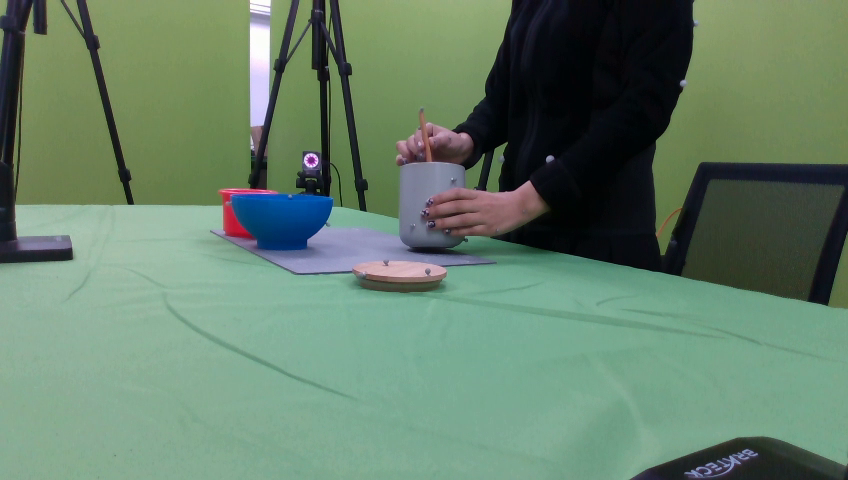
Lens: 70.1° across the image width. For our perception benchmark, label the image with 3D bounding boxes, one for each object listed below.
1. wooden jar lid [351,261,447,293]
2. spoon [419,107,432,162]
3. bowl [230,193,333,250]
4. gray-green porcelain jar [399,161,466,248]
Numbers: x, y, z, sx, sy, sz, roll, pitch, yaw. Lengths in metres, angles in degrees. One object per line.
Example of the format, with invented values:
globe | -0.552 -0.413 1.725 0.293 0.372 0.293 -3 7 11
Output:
wooden jar lid | -0.028 0.042 0.687 0.108 0.020 0.108 3 8 0
spoon | 0.005 -0.116 0.959 0.021 0.193 0.041 -2 -4 1
bowl | -0.214 -0.028 0.912 0.151 0.077 0.151 2 8 0
gray-green porcelain jar | 0.014 -0.051 0.944 0.106 0.126 0.106 -1 -3 0
